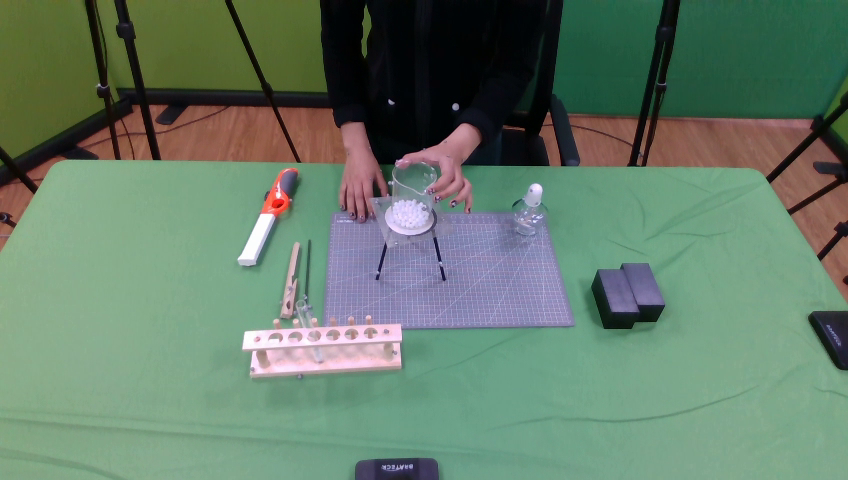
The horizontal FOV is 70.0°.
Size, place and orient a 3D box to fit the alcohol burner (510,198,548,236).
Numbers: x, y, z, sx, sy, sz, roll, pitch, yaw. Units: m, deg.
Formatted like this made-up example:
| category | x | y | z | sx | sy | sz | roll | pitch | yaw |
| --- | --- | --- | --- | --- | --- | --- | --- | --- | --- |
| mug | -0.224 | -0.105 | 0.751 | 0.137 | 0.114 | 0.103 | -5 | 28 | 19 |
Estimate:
| category | x | y | z | sx | sy | sz | roll | pitch | yaw |
| --- | --- | --- | --- | --- | --- | --- | --- | --- | --- |
| alcohol burner | 0.214 | -0.066 | 1.213 | 0.078 | 0.119 | 0.077 | 2 | 48 | -2 |

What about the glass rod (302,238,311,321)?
| category | x | y | z | sx | sy | sz | roll | pitch | yaw |
| --- | --- | --- | --- | --- | --- | --- | --- | --- | --- |
| glass rod | -0.218 | 0.068 | 1.125 | 0.008 | 0.008 | 0.198 | -1 | 47 | -5 |

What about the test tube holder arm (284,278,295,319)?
| category | x | y | z | sx | sy | sz | roll | pitch | yaw |
| --- | --- | --- | --- | --- | --- | --- | --- | --- | --- |
| test tube holder arm | -0.241 | 0.103 | 1.085 | 0.010 | 0.015 | 0.087 | 25 | 38 | -26 |

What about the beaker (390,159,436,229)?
| category | x | y | z | sx | sy | sz | roll | pitch | yaw |
| --- | --- | --- | --- | --- | --- | --- | --- | --- | --- |
| beaker | -0.020 | -0.073 | 1.029 | 0.074 | 0.101 | 0.083 | -10 | 48 | -16 |

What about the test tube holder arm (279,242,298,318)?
| category | x | y | z | sx | sy | sz | roll | pitch | yaw |
| --- | --- | --- | --- | --- | --- | --- | --- | --- | --- |
| test tube holder arm | -0.248 | 0.069 | 1.114 | 0.013 | 0.015 | 0.177 | 25 | 38 | -26 |

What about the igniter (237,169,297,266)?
| category | x | y | z | sx | sy | sz | roll | pitch | yaw |
| --- | --- | --- | --- | --- | --- | --- | --- | --- | --- |
| igniter | -0.313 | -0.055 | 1.224 | 0.057 | 0.025 | 0.275 | 1 | 45 | 10 |

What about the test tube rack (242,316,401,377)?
| category | x | y | z | sx | sy | sz | roll | pitch | yaw |
| --- | --- | --- | --- | --- | --- | --- | --- | --- | --- |
| test tube rack | -0.161 | 0.166 | 0.983 | 0.242 | 0.085 | 0.066 | -2 | 46 | -6 |

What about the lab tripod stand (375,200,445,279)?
| category | x | y | z | sx | sy | sz | roll | pitch | yaw |
| --- | --- | --- | --- | --- | --- | --- | --- | --- | --- |
| lab tripod stand | -0.023 | 0.003 | 1.113 | 0.148 | 0.132 | 0.147 | 4 | 45 | -3 |

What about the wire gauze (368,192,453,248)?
| category | x | y | z | sx | sy | sz | roll | pitch | yaw |
| --- | --- | --- | --- | --- | --- | --- | --- | --- | --- |
| wire gauze | -0.025 | -0.041 | 1.065 | 0.122 | 0.011 | 0.124 | -10 | 46 | -18 |

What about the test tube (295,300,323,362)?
| category | x | y | z | sx | sy | sz | roll | pitch | yaw |
| --- | --- | --- | --- | --- | --- | --- | --- | --- | --- |
| test tube | -0.176 | 0.143 | 0.935 | 0.017 | 0.151 | 0.017 | -2 | 46 | 2 |

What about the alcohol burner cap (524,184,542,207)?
| category | x | y | z | sx | sy | sz | roll | pitch | yaw |
| --- | --- | --- | --- | --- | --- | --- | --- | --- | --- |
| alcohol burner cap | 0.216 | -0.090 | 1.186 | 0.034 | 0.048 | 0.033 | 1 | 56 | -1 |
